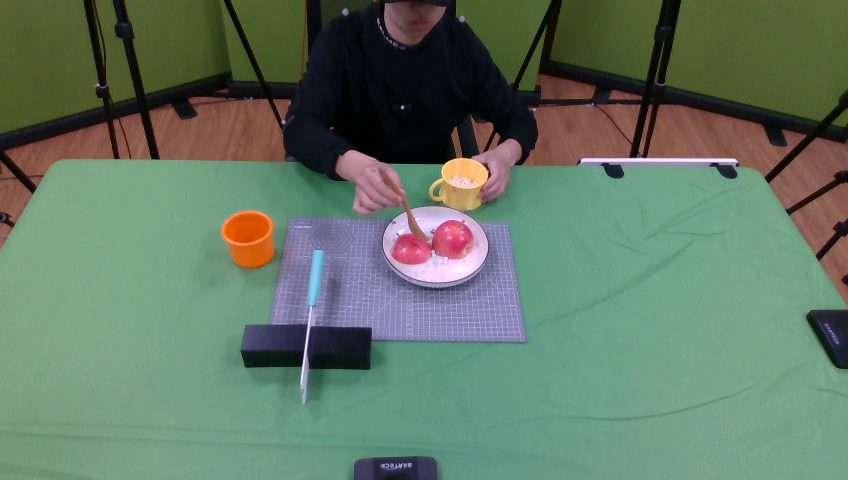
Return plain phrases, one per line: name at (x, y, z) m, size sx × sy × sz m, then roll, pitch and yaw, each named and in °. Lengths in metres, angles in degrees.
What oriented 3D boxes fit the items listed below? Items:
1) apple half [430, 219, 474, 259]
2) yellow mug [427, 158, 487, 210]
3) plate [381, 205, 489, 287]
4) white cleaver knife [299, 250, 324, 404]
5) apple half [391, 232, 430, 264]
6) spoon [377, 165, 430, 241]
apple half at (0.056, -0.008, 1.172) m, size 0.081 × 0.053 × 0.074 m, roll -33°, pitch 59°, yaw -31°
yellow mug at (0.067, -0.116, 1.284) m, size 0.131 × 0.064 × 0.099 m, roll -17°, pitch 49°, yaw -18°
plate at (0.021, 0.015, 1.170) m, size 0.209 × 0.038 × 0.208 m, roll 2°, pitch 46°, yaw -2°
white cleaver knife at (-0.194, 0.134, 1.019) m, size 0.021 × 0.066 × 0.284 m, roll 5°, pitch 50°, yaw -5°
apple half at (-0.024, 0.009, 1.163) m, size 0.081 × 0.033 × 0.081 m, roll 2°, pitch 44°, yaw -2°
spoon at (-0.037, -0.063, 1.075) m, size 0.021 × 0.195 × 0.041 m, roll -44°, pitch 41°, yaw -19°
